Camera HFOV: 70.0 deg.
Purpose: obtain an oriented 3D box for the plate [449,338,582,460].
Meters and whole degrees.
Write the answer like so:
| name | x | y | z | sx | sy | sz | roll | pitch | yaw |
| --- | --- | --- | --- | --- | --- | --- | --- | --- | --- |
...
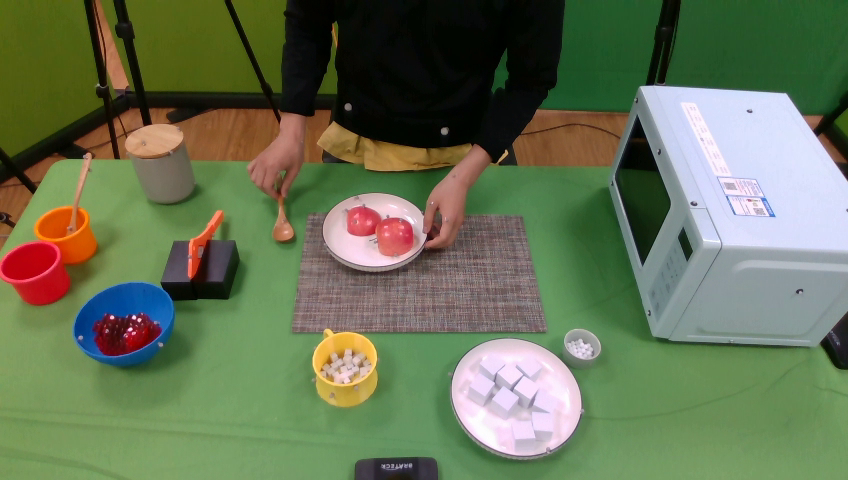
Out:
| name | x | y | z | sx | sy | sz | roll | pitch | yaw |
| --- | --- | --- | --- | --- | --- | --- | --- | --- | --- |
| plate | 0.141 | 0.251 | 0.956 | 0.208 | 0.039 | 0.206 | 2 | 46 | -2 |

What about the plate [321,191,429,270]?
| name | x | y | z | sx | sy | sz | roll | pitch | yaw |
| --- | --- | --- | --- | --- | --- | --- | --- | --- | --- |
| plate | -0.094 | -0.015 | 1.185 | 0.209 | 0.038 | 0.208 | 2 | 46 | -2 |

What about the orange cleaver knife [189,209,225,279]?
| name | x | y | z | sx | sy | sz | roll | pitch | yaw |
| --- | --- | --- | --- | --- | --- | --- | --- | --- | --- |
| orange cleaver knife | -0.401 | 0.002 | 1.122 | 0.012 | 0.077 | 0.210 | 4 | 23 | -4 |

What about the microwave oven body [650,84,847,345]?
| name | x | y | z | sx | sy | sz | roll | pitch | yaw |
| --- | --- | --- | --- | --- | --- | --- | --- | --- | --- |
| microwave oven body | 0.569 | -0.054 | 1.116 | 0.326 | 0.261 | 0.439 | 2 | 46 | -1 |

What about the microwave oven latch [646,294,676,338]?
| name | x | y | z | sx | sy | sz | roll | pitch | yaw |
| --- | --- | --- | --- | --- | --- | --- | --- | --- | --- |
| microwave oven latch | 0.413 | 0.133 | 1.061 | 0.030 | 0.029 | 0.078 | 4 | 46 | 1 |

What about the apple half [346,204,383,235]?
| name | x | y | z | sx | sy | sz | roll | pitch | yaw |
| --- | --- | --- | --- | --- | --- | --- | --- | --- | --- |
| apple half | -0.119 | -0.049 | 1.207 | 0.081 | 0.033 | 0.081 | 2 | 50 | -3 |

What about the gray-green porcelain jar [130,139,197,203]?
| name | x | y | z | sx | sy | sz | roll | pitch | yaw |
| --- | --- | --- | --- | --- | --- | --- | --- | --- | --- |
| gray-green porcelain jar | -0.522 | -0.148 | 1.225 | 0.106 | 0.127 | 0.105 | 2 | 47 | -2 |

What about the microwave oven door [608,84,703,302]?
| name | x | y | z | sx | sy | sz | roll | pitch | yaw |
| --- | --- | --- | --- | --- | --- | --- | --- | --- | --- |
| microwave oven door | 0.424 | -0.096 | 1.138 | 0.039 | 0.245 | 0.353 | 2 | 47 | -1 |

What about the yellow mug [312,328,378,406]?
| name | x | y | z | sx | sy | sz | roll | pitch | yaw |
| --- | --- | --- | --- | --- | --- | --- | --- | --- | --- |
| yellow mug | -0.132 | 0.193 | 0.971 | 0.100 | 0.064 | 0.130 | -22 | 51 | -22 |

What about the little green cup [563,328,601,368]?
| name | x | y | z | sx | sy | sz | roll | pitch | yaw |
| --- | --- | --- | --- | --- | --- | --- | --- | --- | --- |
| little green cup | 0.265 | 0.184 | 1.025 | 0.061 | 0.039 | 0.061 | 1 | 46 | -1 |

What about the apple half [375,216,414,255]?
| name | x | y | z | sx | sy | sz | roll | pitch | yaw |
| --- | --- | --- | --- | --- | --- | --- | --- | --- | --- |
| apple half | -0.056 | -0.017 | 1.169 | 0.075 | 0.053 | 0.080 | 0 | 46 | -7 |

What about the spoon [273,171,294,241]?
| name | x | y | z | sx | sy | sz | roll | pitch | yaw |
| --- | --- | --- | --- | --- | --- | --- | --- | --- | --- |
| spoon | -0.289 | -0.072 | 1.229 | 0.041 | 0.022 | 0.192 | -9 | 56 | -6 |

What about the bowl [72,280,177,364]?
| name | x | y | z | sx | sy | sz | roll | pitch | yaw |
| --- | --- | --- | --- | --- | --- | --- | --- | --- | --- |
| bowl | -0.473 | 0.147 | 0.982 | 0.151 | 0.077 | 0.150 | 2 | 46 | -2 |

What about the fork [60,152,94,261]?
| name | x | y | z | sx | sy | sz | roll | pitch | yaw |
| --- | --- | --- | --- | --- | --- | --- | --- | --- | --- |
| fork | -0.638 | -0.063 | 1.119 | 0.028 | 0.018 | 0.207 | 12 | 90 | 8 |

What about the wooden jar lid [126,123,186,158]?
| name | x | y | z | sx | sy | sz | roll | pitch | yaw |
| --- | --- | --- | --- | --- | --- | --- | --- | --- | --- |
| wooden jar lid | -0.519 | -0.190 | 1.179 | 0.108 | 0.021 | 0.107 | 2 | 44 | -2 |
